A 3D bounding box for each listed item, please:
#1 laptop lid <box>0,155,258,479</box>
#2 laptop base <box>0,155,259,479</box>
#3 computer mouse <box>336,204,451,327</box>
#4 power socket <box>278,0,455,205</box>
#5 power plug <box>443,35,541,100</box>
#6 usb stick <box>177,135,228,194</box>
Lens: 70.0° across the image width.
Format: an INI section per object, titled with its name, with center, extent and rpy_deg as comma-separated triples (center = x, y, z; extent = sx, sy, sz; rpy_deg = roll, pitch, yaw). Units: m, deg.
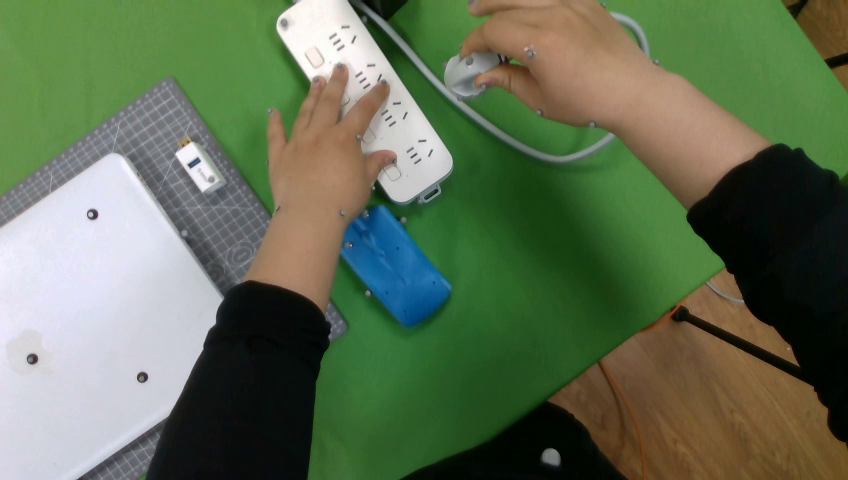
[laptop lid]
center = -0.363, 0.111, 0.571
extent = 0.357, 0.013, 0.242
rpy_deg = -33, 93, 0
[laptop base]
center = -0.365, 0.109, 0.582
extent = 0.354, 0.023, 0.236
rpy_deg = -35, 94, 0
[computer mouse]
center = -0.030, 0.024, 0.573
extent = 0.063, 0.041, 0.117
rpy_deg = -40, 85, 3
[power socket]
center = -0.054, -0.134, 0.575
extent = 0.072, 0.032, 0.226
rpy_deg = -34, 90, 1
[power plug]
center = 0.051, -0.128, 0.464
extent = 0.072, 0.052, 0.035
rpy_deg = -8, 88, -6
[usb stick]
center = -0.214, -0.074, 0.575
extent = 0.021, 0.027, 0.059
rpy_deg = -34, 89, 3
